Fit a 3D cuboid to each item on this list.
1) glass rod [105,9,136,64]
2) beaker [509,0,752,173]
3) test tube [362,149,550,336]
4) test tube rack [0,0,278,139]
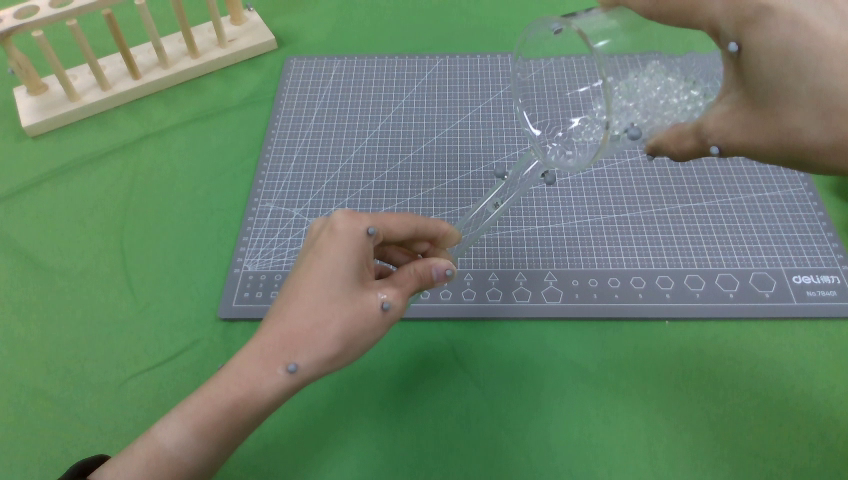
[{"bbox_3d":[-0.285,-0.229,0.515,0.008,0.201,0.008,1,55,-1],"label":"glass rod"},{"bbox_3d":[0.105,-0.082,0.308,0.100,0.084,0.073,-21,56,-20],"label":"beaker"},{"bbox_3d":[0.014,0.006,0.348,0.150,0.017,0.017,-46,52,21],"label":"test tube"},{"bbox_3d":[-0.271,-0.189,0.568,0.242,0.086,0.066,-26,55,-16],"label":"test tube rack"}]
